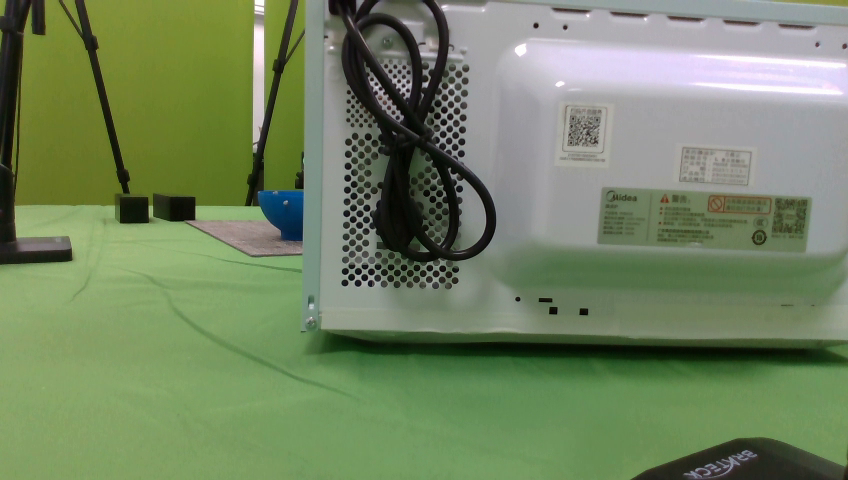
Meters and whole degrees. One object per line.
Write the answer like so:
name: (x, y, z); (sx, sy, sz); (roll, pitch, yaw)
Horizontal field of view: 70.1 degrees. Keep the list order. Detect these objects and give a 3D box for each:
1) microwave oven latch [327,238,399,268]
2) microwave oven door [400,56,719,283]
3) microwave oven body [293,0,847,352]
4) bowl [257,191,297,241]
microwave oven latch: (-0.069, 0.014, 0.694); (0.079, 0.029, 0.030); (3, 7, -2)
microwave oven door: (0.155, -0.078, 0.698); (0.356, 0.243, 0.039); (2, 8, -5)
microwave oven body: (0.122, -0.055, 0.550); (0.442, 0.260, 0.325); (3, 7, -5)
bowl: (-0.206, -0.041, 1.027); (0.151, 0.077, 0.151); (3, 8, 0)
